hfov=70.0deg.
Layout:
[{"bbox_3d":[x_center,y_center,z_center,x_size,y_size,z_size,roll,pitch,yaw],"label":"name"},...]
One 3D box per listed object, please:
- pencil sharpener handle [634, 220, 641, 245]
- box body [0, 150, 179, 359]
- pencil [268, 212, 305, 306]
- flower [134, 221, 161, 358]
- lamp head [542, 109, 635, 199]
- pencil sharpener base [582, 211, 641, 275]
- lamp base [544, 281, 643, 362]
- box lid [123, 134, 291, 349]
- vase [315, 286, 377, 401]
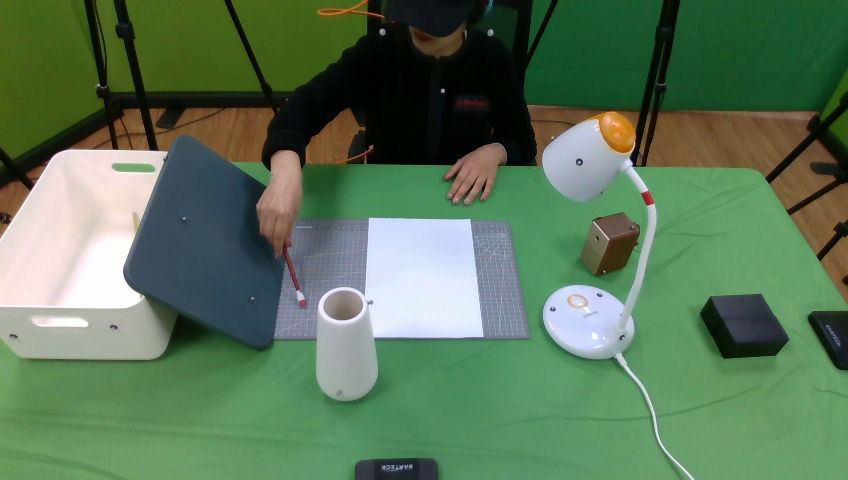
[{"bbox_3d":[0.405,-0.015,1.161,0.031,0.068,0.035,-15,43,-18],"label":"pencil sharpener handle"},{"bbox_3d":[-0.541,0.020,1.041,0.254,0.161,0.361,1,46,-3],"label":"box body"},{"bbox_3d":[-0.252,0.032,1.102,0.012,0.012,0.193,-18,72,-20],"label":"pencil"},{"bbox_3d":[-0.508,0.071,1.092,0.044,0.038,0.359,-41,45,8],"label":"flower"},{"bbox_3d":[0.253,-0.131,0.893,0.113,0.123,0.112,10,66,-24],"label":"lamp head"},{"bbox_3d":[0.357,0.005,1.156,0.077,0.107,0.061,-15,48,-18],"label":"pencil sharpener base"},{"bbox_3d":[0.303,0.095,1.014,0.161,0.181,0.178,-24,54,-24],"label":"lamp base"},{"bbox_3d":[-0.355,-0.008,1.060,0.015,0.265,0.369,-33,39,26],"label":"box lid"},{"bbox_3d":[-0.119,0.159,0.911,0.098,0.201,0.097,2,47,-2],"label":"vase"}]
